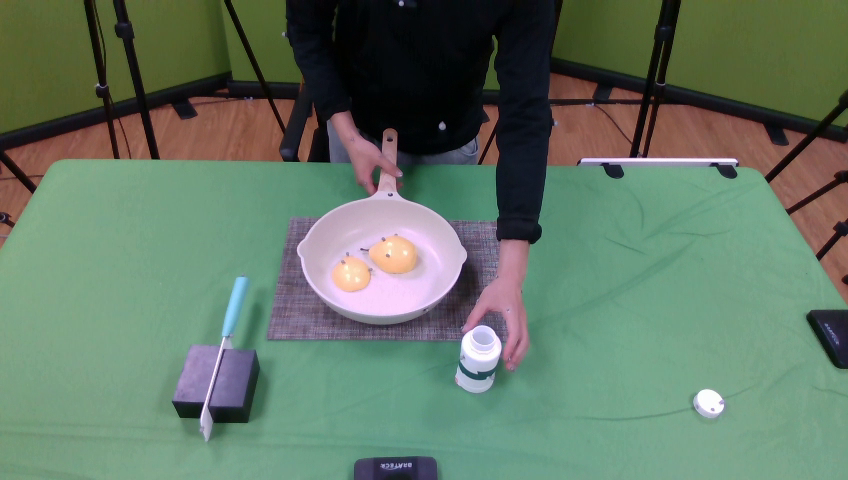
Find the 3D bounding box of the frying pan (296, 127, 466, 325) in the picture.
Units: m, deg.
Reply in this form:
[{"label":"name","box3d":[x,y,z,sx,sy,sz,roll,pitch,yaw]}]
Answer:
[{"label":"frying pan","box3d":[-0.076,-0.044,1.172,0.307,0.103,0.485,4,55,-3]}]

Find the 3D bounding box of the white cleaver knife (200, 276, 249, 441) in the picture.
[{"label":"white cleaver knife","box3d":[-0.321,0.177,0.972,0.021,0.066,0.284,7,48,-5]}]

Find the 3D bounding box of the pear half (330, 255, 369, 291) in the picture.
[{"label":"pear half","box3d":[-0.139,0.053,1.121,0.070,0.031,0.087,-6,50,-17]}]

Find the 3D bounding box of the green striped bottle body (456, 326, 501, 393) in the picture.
[{"label":"green striped bottle body","box3d":[0.086,0.186,0.959,0.063,0.120,0.063,2,46,-2]}]

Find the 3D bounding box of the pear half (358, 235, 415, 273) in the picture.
[{"label":"pear half","box3d":[-0.074,0.017,1.146,0.110,0.056,0.076,8,41,7]}]

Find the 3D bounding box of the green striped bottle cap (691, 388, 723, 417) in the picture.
[{"label":"green striped bottle cap","box3d":[0.460,0.263,0.984,0.044,0.020,0.044,3,47,-3]}]
